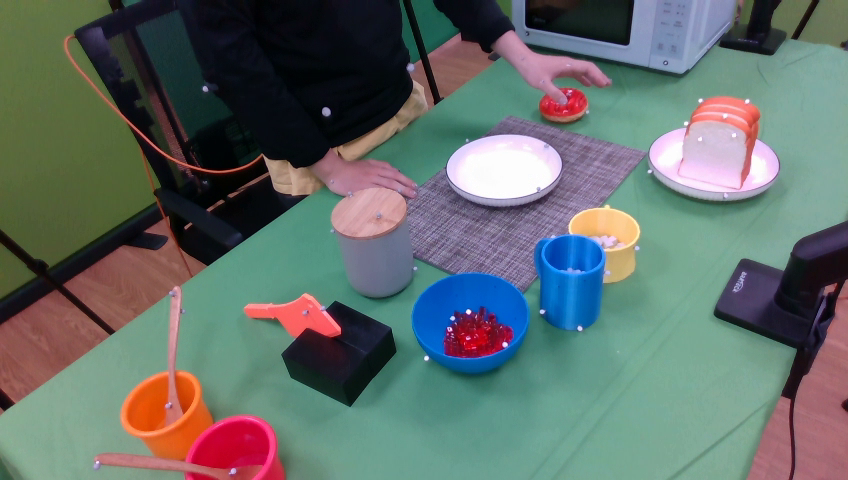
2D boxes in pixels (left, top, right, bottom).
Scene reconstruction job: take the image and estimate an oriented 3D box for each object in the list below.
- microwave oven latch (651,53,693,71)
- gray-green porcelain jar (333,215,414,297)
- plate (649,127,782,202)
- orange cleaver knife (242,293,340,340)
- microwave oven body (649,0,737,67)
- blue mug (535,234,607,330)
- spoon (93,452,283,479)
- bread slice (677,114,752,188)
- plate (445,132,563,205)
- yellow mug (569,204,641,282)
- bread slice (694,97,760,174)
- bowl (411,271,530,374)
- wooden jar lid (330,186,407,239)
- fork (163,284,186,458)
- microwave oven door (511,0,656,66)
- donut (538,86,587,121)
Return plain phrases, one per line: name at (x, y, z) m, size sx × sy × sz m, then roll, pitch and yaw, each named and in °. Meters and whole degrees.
microwave oven latch at (0.532, -0.386, 1.301) m, size 0.078 × 0.029 × 0.030 m, roll 27°, pitch 52°, yaw 34°
gray-green porcelain jar at (-0.071, 0.012, 0.887) m, size 0.106 × 0.127 × 0.105 m, roll -4°, pitch 41°, yaw 4°
plate at (0.493, -0.127, 1.036) m, size 0.207 × 0.039 × 0.206 m, roll -4°, pitch 41°, yaw 4°
orange cleaver knife at (-0.185, 0.107, 0.827) m, size 0.210 × 0.077 × 0.012 m, roll -9°, pitch 29°, yaw 48°
microwave oven body at (0.475, -0.602, 1.411) m, size 0.438 × 0.261 × 0.327 m, roll 23°, pitch 50°, yaw 32°
blue mug at (0.191, 0.048, 0.824) m, size 0.082 × 0.106 × 0.115 m, roll -26°, pitch 44°, yaw -20°
spoon at (-0.240, 0.239, 0.632) m, size 0.195 × 0.021 × 0.041 m, roll 26°, pitch 34°, yaw -32°
bread slice at (0.467, -0.144, 0.976) m, size 0.104 × 0.132 × 0.019 m, roll 18°, pitch 55°, yaw 30°
plate at (0.142, -0.123, 1.076) m, size 0.209 × 0.038 × 0.208 m, roll -4°, pitch 41°, yaw 4°
yellow mug at (0.268, -0.005, 0.904) m, size 0.099 × 0.064 × 0.130 m, roll 7°, pitch 41°, yaw 15°
bread slice at (0.497, -0.173, 1.004) m, size 0.106 × 0.135 × 0.018 m, roll 23°, pitch 51°, yaw 26°
bowl at (0.061, 0.120, 0.780) m, size 0.151 × 0.077 × 0.150 m, roll -4°, pitch 40°, yaw 4°
wooden jar lid at (-0.077, -0.035, 0.846) m, size 0.108 × 0.021 × 0.108 m, roll -5°, pitch 41°, yaw 5°
fork at (-0.302, 0.157, 0.733) m, size 0.028 × 0.019 × 0.207 m, roll -3°, pitch 84°, yaw 16°
microwave oven door at (0.351, -0.539, 1.349) m, size 0.353 × 0.245 × 0.039 m, roll 24°, pitch 50°, yaw 31°
donut at (0.284, -0.280, 1.239) m, size 0.099 × 0.048 × 0.098 m, roll -5°, pitch 42°, yaw 5°
